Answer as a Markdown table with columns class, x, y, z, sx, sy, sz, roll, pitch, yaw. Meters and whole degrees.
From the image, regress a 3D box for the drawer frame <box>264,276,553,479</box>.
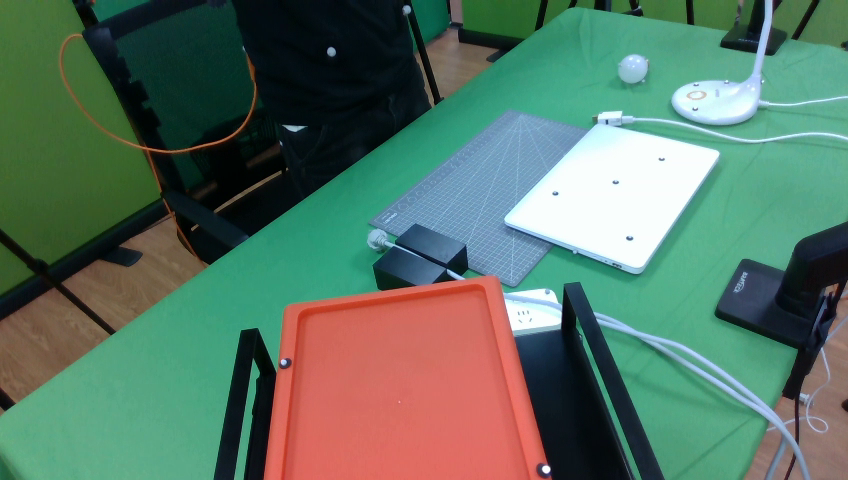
| class | x | y | z | sx | sy | sz | roll | pitch | yaw |
| --- | --- | --- | --- | --- | --- | --- | --- | --- | --- |
| drawer frame | -0.016 | 0.137 | 0.490 | 0.202 | 0.083 | 0.212 | -8 | 41 | -1 |

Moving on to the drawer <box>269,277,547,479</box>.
| class | x | y | z | sx | sy | sz | roll | pitch | yaw |
| --- | --- | --- | --- | --- | --- | --- | --- | --- | --- |
| drawer | -0.018 | 0.137 | 0.493 | 0.195 | 0.073 | 0.210 | -7 | 41 | -1 |

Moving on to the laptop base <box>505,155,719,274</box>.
| class | x | y | z | sx | sy | sz | roll | pitch | yaw |
| --- | --- | --- | --- | --- | --- | --- | --- | --- | --- |
| laptop base | 0.326 | -0.083 | 1.028 | 0.233 | 0.023 | 0.355 | 21 | 48 | 32 |

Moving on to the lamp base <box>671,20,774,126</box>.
| class | x | y | z | sx | sy | sz | roll | pitch | yaw |
| --- | --- | --- | --- | --- | --- | --- | --- | --- | --- |
| lamp base | 0.581 | -0.332 | 1.154 | 0.179 | 0.181 | 0.160 | 2 | 41 | 7 |

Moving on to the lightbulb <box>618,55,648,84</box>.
| class | x | y | z | sx | sy | sz | roll | pitch | yaw |
| --- | --- | --- | --- | --- | --- | --- | --- | --- | --- |
| lightbulb | 0.464 | -0.376 | 1.324 | 0.059 | 0.059 | 0.108 | 22 | 34 | 30 |

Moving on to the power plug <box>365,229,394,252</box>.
| class | x | y | z | sx | sy | sz | roll | pitch | yaw |
| --- | --- | --- | --- | --- | --- | --- | --- | --- | --- |
| power plug | -0.067 | 0.010 | 0.954 | 0.035 | 0.053 | 0.072 | -41 | 53 | 2 |

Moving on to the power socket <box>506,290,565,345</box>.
| class | x | y | z | sx | sy | sz | roll | pitch | yaw |
| --- | --- | --- | --- | --- | --- | --- | --- | --- | --- |
| power socket | 0.081 | 0.112 | 0.822 | 0.227 | 0.033 | 0.072 | -7 | 41 | 0 |

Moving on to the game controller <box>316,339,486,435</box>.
| class | x | y | z | sx | sy | sz | roll | pitch | yaw |
| --- | --- | --- | --- | --- | --- | --- | --- | --- | --- |
| game controller | -0.020 | 0.119 | 0.533 | 0.155 | 0.052 | 0.096 | -3 | 40 | 1 |

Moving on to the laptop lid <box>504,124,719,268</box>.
| class | x | y | z | sx | sy | sz | roll | pitch | yaw |
| --- | --- | --- | --- | --- | --- | --- | --- | --- | --- |
| laptop lid | 0.323 | -0.093 | 1.021 | 0.240 | 0.013 | 0.358 | 23 | 49 | 32 |

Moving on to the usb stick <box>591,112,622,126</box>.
| class | x | y | z | sx | sy | sz | roll | pitch | yaw |
| --- | --- | --- | --- | --- | --- | --- | --- | --- | --- |
| usb stick | 0.360 | -0.239 | 1.197 | 0.059 | 0.021 | 0.027 | 4 | 43 | 27 |
